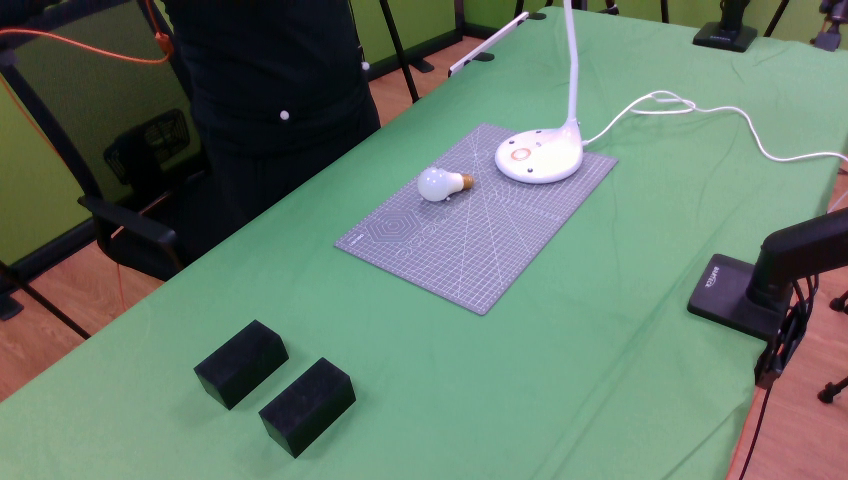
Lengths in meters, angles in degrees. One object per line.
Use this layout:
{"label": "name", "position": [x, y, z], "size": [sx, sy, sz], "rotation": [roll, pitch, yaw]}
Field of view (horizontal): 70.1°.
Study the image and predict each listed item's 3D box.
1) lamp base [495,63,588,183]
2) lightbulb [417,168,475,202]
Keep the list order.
{"label": "lamp base", "position": [0.215, -0.217, 1.067], "size": [0.180, 0.181, 0.159], "rotation": [-19, 42, -18]}
{"label": "lightbulb", "position": [0.040, -0.097, 1.055], "size": [0.108, 0.059, 0.059], "rotation": [-7, 37, -25]}
